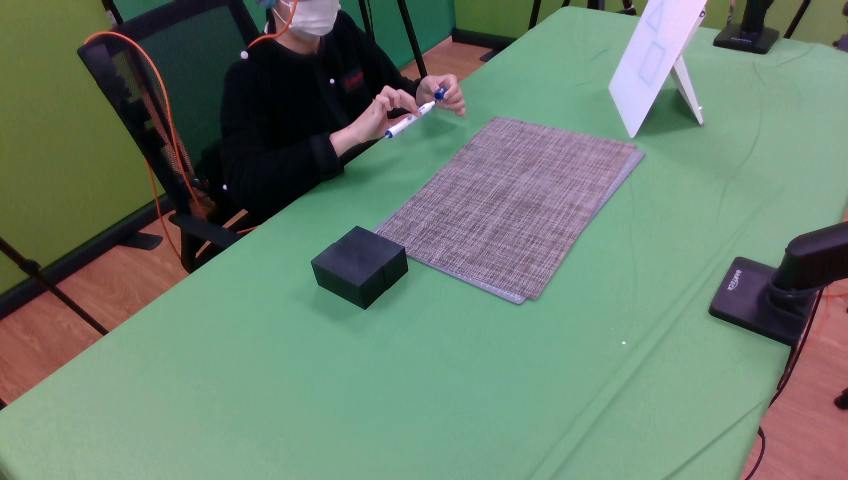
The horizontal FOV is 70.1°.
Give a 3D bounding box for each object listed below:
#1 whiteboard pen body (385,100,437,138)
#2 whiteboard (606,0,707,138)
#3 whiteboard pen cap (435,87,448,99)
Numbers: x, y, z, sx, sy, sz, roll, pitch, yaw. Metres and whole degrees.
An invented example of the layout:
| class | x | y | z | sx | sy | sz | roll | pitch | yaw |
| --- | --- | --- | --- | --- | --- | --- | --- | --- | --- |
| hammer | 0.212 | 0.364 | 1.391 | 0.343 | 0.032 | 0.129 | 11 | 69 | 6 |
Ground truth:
| class | x | y | z | sx | sy | sz | roll | pitch | yaw |
| --- | --- | --- | --- | --- | --- | --- | --- | --- | --- |
| whiteboard pen body | -0.021 | -0.223 | 1.103 | 0.017 | 0.017 | 0.141 | 25 | 51 | 32 |
| whiteboard | 0.496 | -0.359 | 1.147 | 0.144 | 0.305 | 0.216 | 11 | 40 | -7 |
| whiteboard pen cap | 0.033 | -0.286 | 1.176 | 0.018 | 0.018 | 0.033 | 13 | 35 | 22 |
